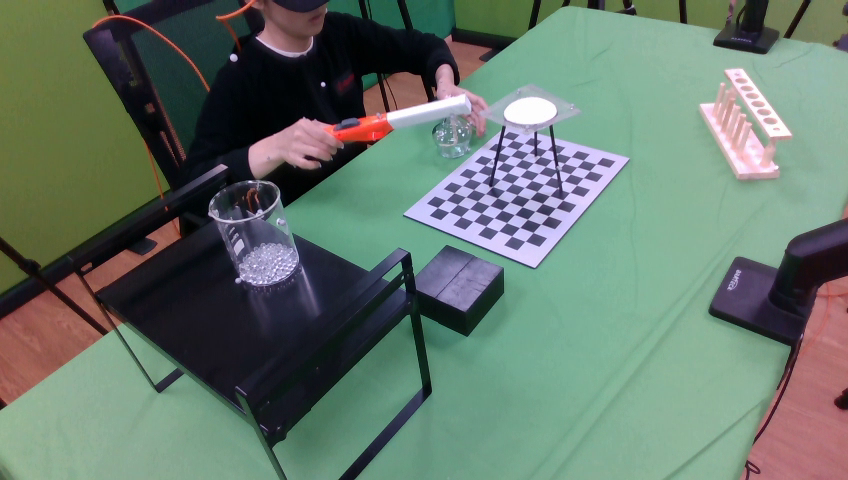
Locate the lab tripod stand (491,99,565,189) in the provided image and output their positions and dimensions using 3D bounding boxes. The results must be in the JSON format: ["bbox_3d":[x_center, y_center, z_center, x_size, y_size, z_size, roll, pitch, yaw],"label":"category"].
[{"bbox_3d":[0.184,-0.163,1.046,0.148,0.132,0.147,-5,42,5],"label":"lab tripod stand"}]

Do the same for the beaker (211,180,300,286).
[{"bbox_3d":[-0.183,-0.007,0.674,0.074,0.101,0.083,-1,40,7],"label":"beaker"}]

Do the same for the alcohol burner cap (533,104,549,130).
[{"bbox_3d":[0.235,-0.251,1.217,0.034,0.048,0.033,-5,41,5],"label":"alcohol burner cap"}]

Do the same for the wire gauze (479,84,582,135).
[{"bbox_3d":[0.176,-0.216,1.006,0.125,0.011,0.120,-29,46,-22],"label":"wire gauze"}]

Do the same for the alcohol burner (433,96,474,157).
[{"bbox_3d":[0.055,-0.220,1.154,0.078,0.119,0.077,-4,39,3],"label":"alcohol burner"}]

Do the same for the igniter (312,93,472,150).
[{"bbox_3d":[-0.059,-0.182,0.945,0.275,0.057,0.025,-10,65,21],"label":"igniter"}]

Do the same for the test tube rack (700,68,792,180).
[{"bbox_3d":[0.572,-0.215,1.090,0.066,0.085,0.241,-3,41,7],"label":"test tube rack"}]
